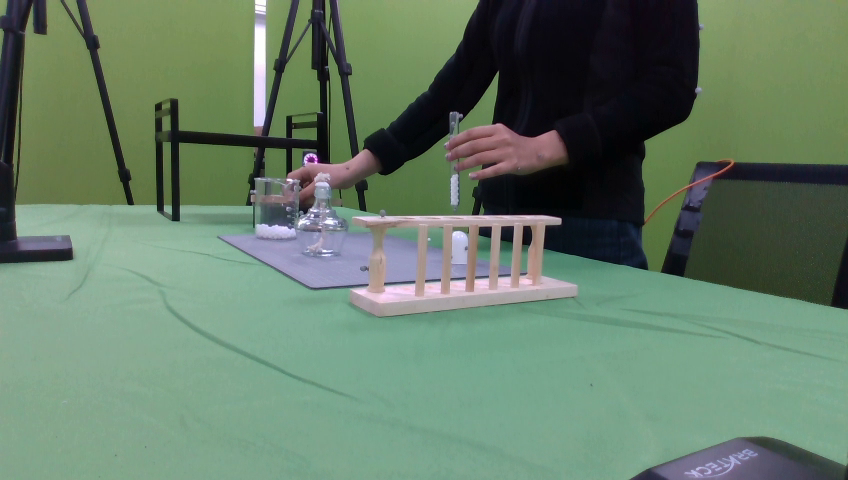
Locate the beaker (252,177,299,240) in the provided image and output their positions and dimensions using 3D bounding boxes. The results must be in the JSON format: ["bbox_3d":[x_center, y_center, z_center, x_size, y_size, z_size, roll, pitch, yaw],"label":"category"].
[{"bbox_3d":[-0.245,-0.052,1.005,0.074,0.100,0.083,-3,10,-32],"label":"beaker"}]

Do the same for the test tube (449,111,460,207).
[{"bbox_3d":[0.047,-0.126,0.946,0.017,0.150,0.017,0,1,0],"label":"test tube"}]

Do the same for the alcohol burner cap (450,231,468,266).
[{"bbox_3d":[0.046,0.012,0.839,0.034,0.048,0.034,3,5,0],"label":"alcohol burner cap"}]

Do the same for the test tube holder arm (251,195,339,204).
[{"bbox_3d":[-0.246,-0.078,1.170,0.179,0.015,0.013,-1,17,-36],"label":"test tube holder arm"}]

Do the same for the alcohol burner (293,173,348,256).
[{"bbox_3d":[-0.147,-0.036,0.859,0.078,0.119,0.078,4,8,0],"label":"alcohol burner"}]

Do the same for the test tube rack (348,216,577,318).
[{"bbox_3d":[0.048,0.021,0.619,0.244,0.085,0.066,-2,8,-31],"label":"test tube rack"}]

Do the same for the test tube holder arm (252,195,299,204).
[{"bbox_3d":[-0.280,-0.076,1.140,0.088,0.015,0.010,0,17,-34],"label":"test tube holder arm"}]
